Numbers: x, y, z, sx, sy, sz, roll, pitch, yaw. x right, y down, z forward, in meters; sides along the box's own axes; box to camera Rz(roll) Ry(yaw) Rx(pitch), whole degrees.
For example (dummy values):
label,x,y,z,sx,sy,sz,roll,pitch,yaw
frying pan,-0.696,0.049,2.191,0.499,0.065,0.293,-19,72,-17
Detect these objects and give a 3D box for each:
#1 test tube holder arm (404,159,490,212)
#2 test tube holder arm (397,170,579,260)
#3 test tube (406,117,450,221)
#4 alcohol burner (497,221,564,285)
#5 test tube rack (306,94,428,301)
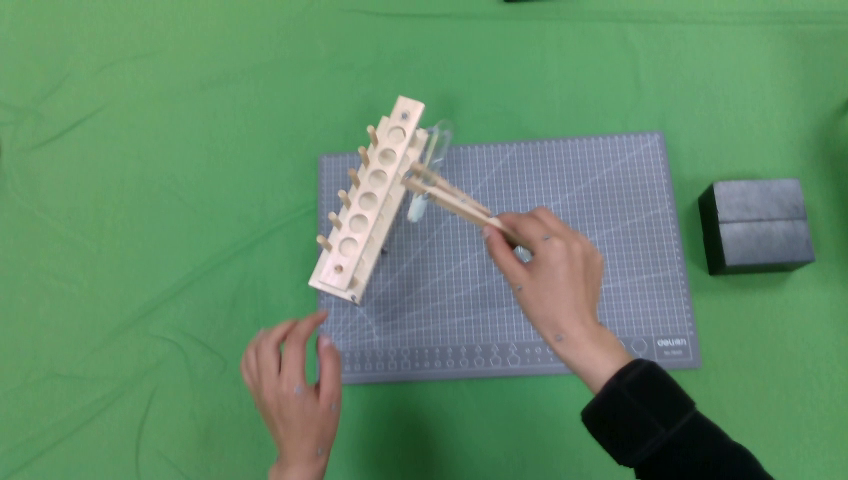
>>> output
label,x,y,z,sx,sy,sz,roll,pitch,yaw
test tube holder arm,0.021,-0.047,0.560,0.087,0.015,0.010,32,54,6
test tube holder arm,0.059,-0.022,0.555,0.178,0.015,0.013,25,55,0
test tube,0.001,-0.059,0.550,0.017,0.151,0.017,5,61,-9
alcohol burner,0.124,0.010,0.691,0.078,0.120,0.077,-1,73,2
test tube rack,-0.072,-0.056,0.735,0.066,0.085,0.241,20,76,10
